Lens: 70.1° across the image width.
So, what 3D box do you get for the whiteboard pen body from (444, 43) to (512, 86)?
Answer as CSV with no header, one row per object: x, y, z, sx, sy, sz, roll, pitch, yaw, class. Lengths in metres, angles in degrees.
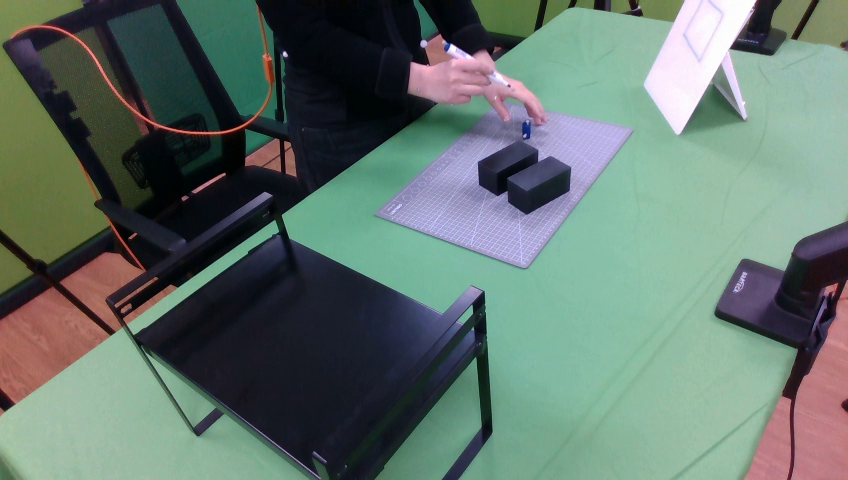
0.097,-0.304,1.058,0.142,0.017,0.017,24,36,-21,whiteboard pen body

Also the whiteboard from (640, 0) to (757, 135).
0.576,-0.366,1.147,0.144,0.305,0.216,10,39,-10,whiteboard

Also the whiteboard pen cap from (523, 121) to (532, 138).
0.203,-0.216,1.186,0.018,0.033,0.018,-6,40,6,whiteboard pen cap
